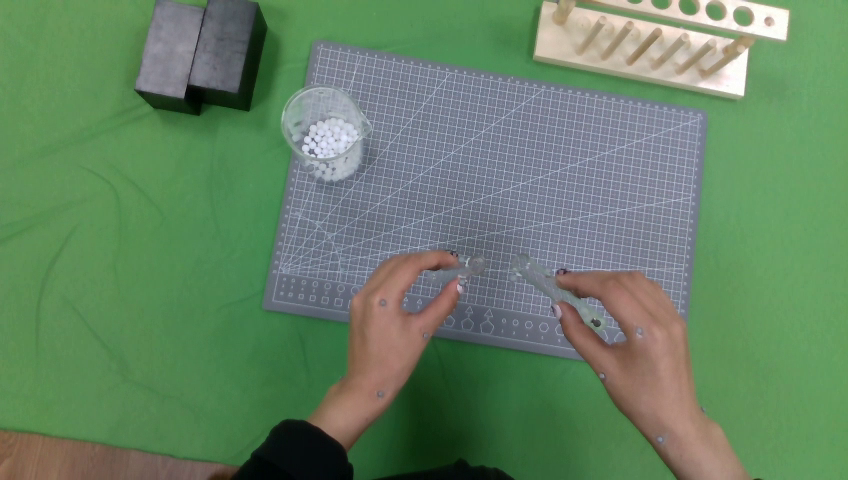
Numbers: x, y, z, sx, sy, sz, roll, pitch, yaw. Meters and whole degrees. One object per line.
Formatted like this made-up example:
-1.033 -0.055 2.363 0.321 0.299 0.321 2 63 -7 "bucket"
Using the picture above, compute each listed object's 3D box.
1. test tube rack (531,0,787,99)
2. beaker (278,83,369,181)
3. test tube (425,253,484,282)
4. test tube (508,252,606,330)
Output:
0.248 -0.222 0.656 0.242 0.085 0.066 10 82 -3 "test tube rack"
-0.096 -0.102 0.606 0.084 0.100 0.074 2 83 -4 "beaker"
0.024 0.027 0.545 0.017 0.150 0.017 2 83 -13 "test tube"
0.111 0.045 0.487 0.152 0.017 0.017 33 78 -44 "test tube"
